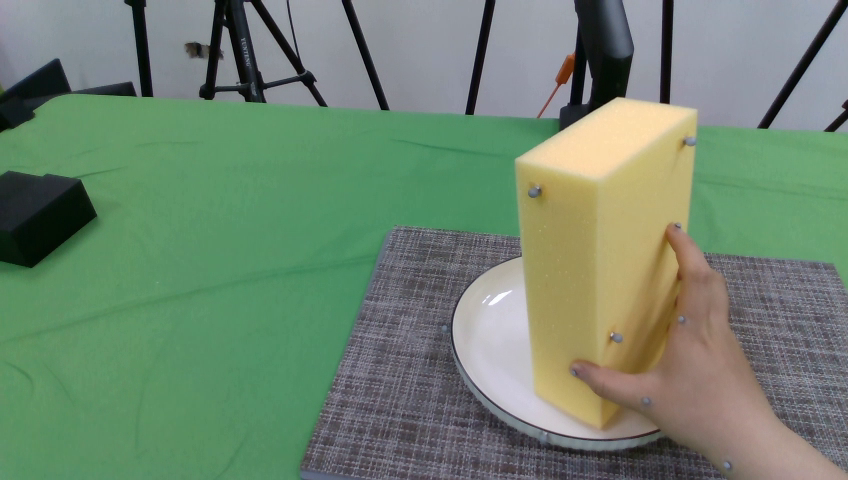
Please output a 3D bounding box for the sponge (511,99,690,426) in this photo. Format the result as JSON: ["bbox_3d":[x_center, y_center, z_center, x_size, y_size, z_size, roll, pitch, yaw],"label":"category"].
[{"bbox_3d":[0.130,0.018,0.438,0.060,0.209,0.118,22,46,41],"label":"sponge"}]

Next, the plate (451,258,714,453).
[{"bbox_3d":[0.126,0.089,0.504,0.208,0.039,0.205,-1,38,1],"label":"plate"}]
